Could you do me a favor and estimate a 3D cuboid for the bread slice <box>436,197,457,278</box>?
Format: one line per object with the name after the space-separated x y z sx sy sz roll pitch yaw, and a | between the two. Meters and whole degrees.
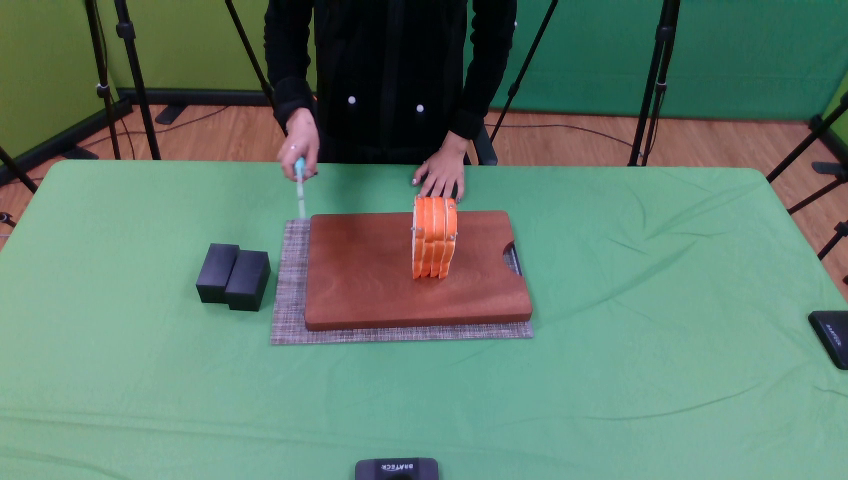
0.040 -0.010 1.097 0.019 0.132 0.104 4 48 -7 | bread slice

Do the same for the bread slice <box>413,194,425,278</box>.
-0.010 -0.015 1.095 0.018 0.135 0.106 0 43 -3 | bread slice

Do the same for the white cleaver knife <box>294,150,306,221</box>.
-0.215 -0.099 1.043 0.021 0.066 0.285 -1 21 -10 | white cleaver knife
